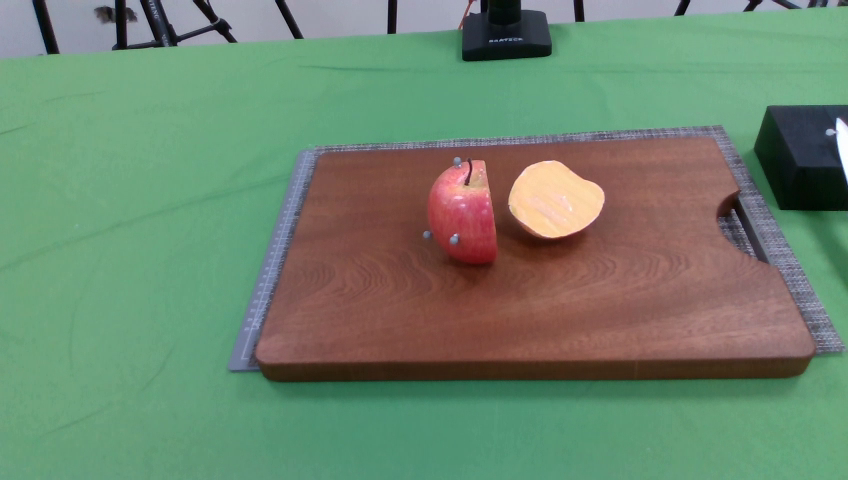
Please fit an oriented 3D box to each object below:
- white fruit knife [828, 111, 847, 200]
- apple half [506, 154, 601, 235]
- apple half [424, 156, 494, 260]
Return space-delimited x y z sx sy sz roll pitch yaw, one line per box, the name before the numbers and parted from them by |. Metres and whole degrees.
white fruit knife | 0.361 -0.025 0.496 0.027 0.016 0.205 0 61 7
apple half | 0.107 -0.032 0.521 0.081 0.033 0.080 -2 59 4
apple half | 0.027 -0.024 0.493 0.053 0.075 0.080 -8 47 5
